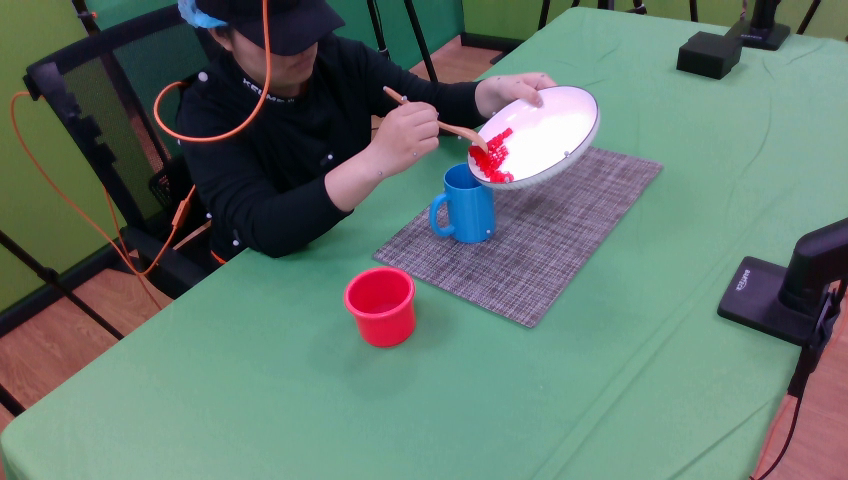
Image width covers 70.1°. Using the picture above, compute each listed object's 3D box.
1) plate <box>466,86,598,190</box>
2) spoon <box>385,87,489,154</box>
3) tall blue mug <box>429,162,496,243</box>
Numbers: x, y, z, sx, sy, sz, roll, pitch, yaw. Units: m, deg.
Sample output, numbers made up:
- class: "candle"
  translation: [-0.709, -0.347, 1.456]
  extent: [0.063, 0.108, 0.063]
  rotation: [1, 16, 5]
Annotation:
- class: "plate"
  translation: [0.163, -0.148, 0.909]
  extent: [0.207, 0.039, 0.206]
  rotation: [-22, 39, 20]
- class: "spoon"
  translation: [0.023, -0.177, 0.904]
  extent: [0.195, 0.021, 0.041]
  rotation: [21, 29, -26]
- class: "tall blue mug"
  translation: [0.067, -0.051, 0.961]
  extent: [0.077, 0.108, 0.107]
  rotation: [18, 47, 28]
